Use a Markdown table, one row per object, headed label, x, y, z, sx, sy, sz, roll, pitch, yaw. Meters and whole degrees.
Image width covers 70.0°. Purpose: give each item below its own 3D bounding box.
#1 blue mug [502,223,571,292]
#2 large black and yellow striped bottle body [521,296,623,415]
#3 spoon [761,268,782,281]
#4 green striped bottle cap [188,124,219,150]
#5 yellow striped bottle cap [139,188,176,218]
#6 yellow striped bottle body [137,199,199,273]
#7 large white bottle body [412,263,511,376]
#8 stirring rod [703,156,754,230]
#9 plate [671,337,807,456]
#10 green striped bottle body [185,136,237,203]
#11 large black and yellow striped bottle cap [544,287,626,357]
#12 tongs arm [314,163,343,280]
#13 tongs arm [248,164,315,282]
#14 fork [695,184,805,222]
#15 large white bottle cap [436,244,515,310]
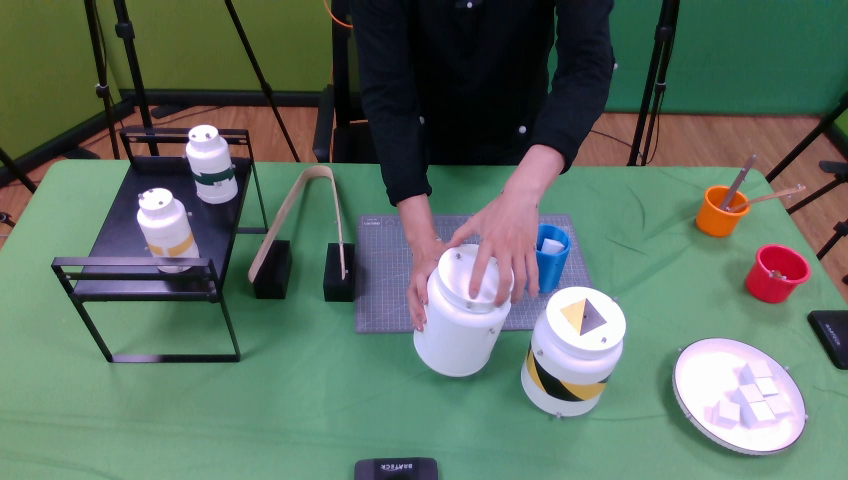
| label | x | y | z | sx | sy | sz | roll | pitch | yaw |
| --- | --- | --- | --- | --- | --- | --- | --- | --- | --- |
| blue mug | 0.202 | 0.031 | 1.121 | 0.116 | 0.106 | 0.082 | 5 | 47 | 1 |
| large black and yellow striped bottle body | 0.228 | 0.173 | 0.937 | 0.131 | 0.185 | 0.130 | 2 | 47 | -2 |
| spoon | 0.638 | 0.060 | 1.105 | 0.041 | 0.021 | 0.194 | 38 | 11 | 24 |
| green striped bottle cap | -0.339 | -0.158 | 0.931 | 0.044 | 0.020 | 0.044 | 4 | 45 | -4 |
| yellow striped bottle cap | -0.363 | -0.051 | 0.826 | 0.044 | 0.019 | 0.044 | 1 | 48 | 0 |
| yellow striped bottle body | -0.366 | -0.014 | 0.863 | 0.063 | 0.121 | 0.062 | 2 | 46 | -2 |
| large white bottle body | 0.059 | 0.110 | 0.937 | 0.131 | 0.185 | 0.130 | 7 | 45 | -7 |
| stirring rod | 0.632 | -0.098 | 1.258 | 0.014 | 0.006 | 0.176 | 33 | 95 | 29 |
| plate | 0.504 | 0.254 | 0.984 | 0.208 | 0.039 | 0.206 | 2 | 46 | -2 |
| green striped bottle body | -0.341 | -0.122 | 0.968 | 0.063 | 0.120 | 0.063 | 2 | 46 | -2 |
| large black and yellow striped bottle cap | 0.232 | 0.116 | 0.876 | 0.115 | 0.019 | 0.114 | 2 | 46 | -1 |
| tongs arm | -0.188 | -0.049 | 1.170 | 0.051 | 0.026 | 0.382 | -6 | 35 | -6 |
| tongs arm | -0.269 | -0.047 | 1.166 | 0.028 | 0.028 | 0.385 | -1 | 34 | 7 |
| fork | 0.657 | -0.075 | 1.230 | 0.207 | 0.019 | 0.028 | -23 | 34 | 37 |
| large white bottle cap | 0.075 | 0.052 | 0.878 | 0.115 | 0.018 | 0.114 | 8 | 45 | -8 |
